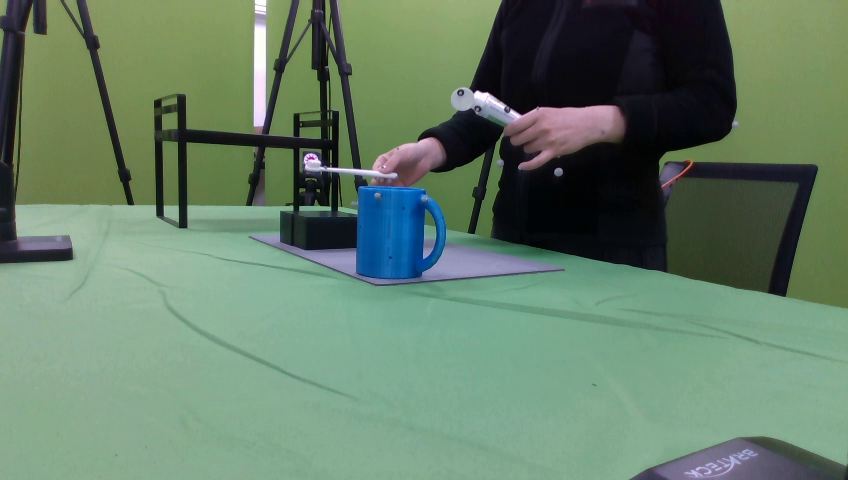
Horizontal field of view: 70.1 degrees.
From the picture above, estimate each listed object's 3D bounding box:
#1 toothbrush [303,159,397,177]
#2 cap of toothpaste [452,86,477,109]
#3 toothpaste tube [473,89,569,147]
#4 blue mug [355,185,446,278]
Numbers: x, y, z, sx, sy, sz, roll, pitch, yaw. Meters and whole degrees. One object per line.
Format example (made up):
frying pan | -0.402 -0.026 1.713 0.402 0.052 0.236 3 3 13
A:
toothbrush | -0.113 -0.114 0.968 0.183 0.016 0.014 1 23 -44
cap of toothpaste | 0.059 -0.206 0.871 0.037 0.037 0.011 2 40 -3
toothpaste tube | 0.140 -0.179 0.903 0.165 0.034 0.055 26 13 -12
blue mug | -0.027 -0.011 0.723 0.116 0.106 0.083 7 8 27
